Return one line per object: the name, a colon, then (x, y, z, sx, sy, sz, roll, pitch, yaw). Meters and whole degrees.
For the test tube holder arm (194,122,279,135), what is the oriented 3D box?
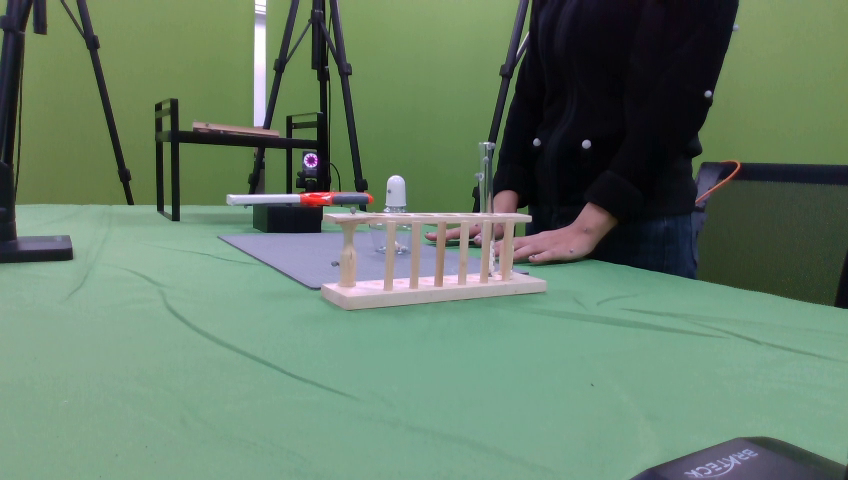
test tube holder arm: (-0.401, -0.238, 1.301, 0.179, 0.015, 0.013, -2, -21, -29)

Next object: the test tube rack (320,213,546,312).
test tube rack: (0.017, 0.017, 0.638, 0.244, 0.085, 0.066, -2, 9, -31)

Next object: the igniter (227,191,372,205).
igniter: (-0.232, -0.080, 1.162, 0.278, 0.025, 0.057, -3, 12, -28)

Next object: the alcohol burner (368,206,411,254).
alcohol burner: (-0.045, -0.038, 0.913, 0.078, 0.119, 0.078, 5, 7, 0)

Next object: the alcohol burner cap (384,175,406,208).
alcohol burner cap: (-0.044, -0.074, 0.908, 0.034, 0.048, 0.034, 0, 12, 0)

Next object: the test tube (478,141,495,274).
test tube: (0.071, -0.036, 0.683, 0.017, 0.150, 0.017, -2, 8, 1)

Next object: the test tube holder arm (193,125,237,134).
test tube holder arm: (-0.443, -0.235, 1.284, 0.088, 0.015, 0.010, -2, -21, -28)
